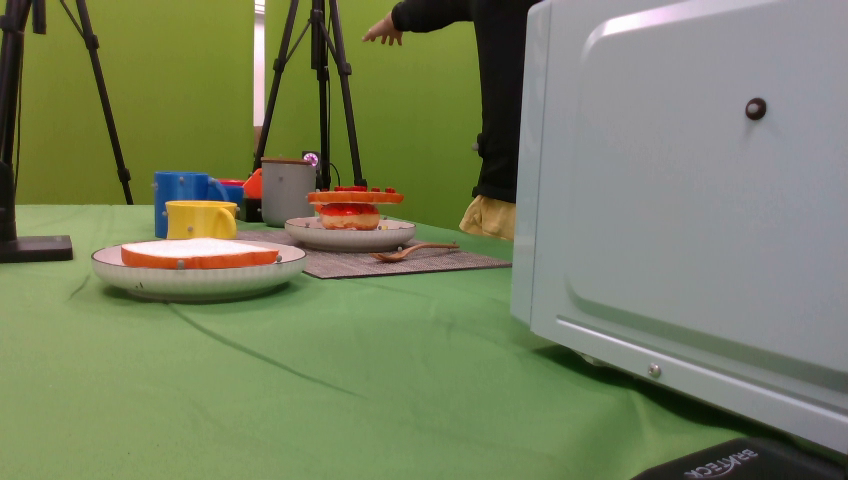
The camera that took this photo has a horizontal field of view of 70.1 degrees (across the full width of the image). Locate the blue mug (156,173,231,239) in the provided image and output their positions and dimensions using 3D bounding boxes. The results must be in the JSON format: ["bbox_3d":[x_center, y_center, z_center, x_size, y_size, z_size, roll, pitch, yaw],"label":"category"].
[{"bbox_3d":[-0.381,-0.057,1.004,0.117,0.106,0.082,0,8,-12],"label":"blue mug"}]

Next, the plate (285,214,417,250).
[{"bbox_3d":[-0.116,-0.014,0.964,0.209,0.038,0.209,2,8,0],"label":"plate"}]

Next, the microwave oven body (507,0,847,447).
[{"bbox_3d":[0.331,-0.042,0.425,0.444,0.260,0.324,-2,8,-31],"label":"microwave oven body"}]

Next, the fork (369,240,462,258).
[{"bbox_3d":[-0.005,0.011,0.874,0.028,0.018,0.208,0,6,37],"label":"fork"}]

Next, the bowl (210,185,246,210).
[{"bbox_3d":[-0.422,-0.067,1.166,0.151,0.077,0.151,2,7,0],"label":"bowl"}]

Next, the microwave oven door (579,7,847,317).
[{"bbox_3d":[0.294,-0.067,0.570,0.358,0.243,0.039,-3,9,-31],"label":"microwave oven door"}]

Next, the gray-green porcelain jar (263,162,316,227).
[{"bbox_3d":[-0.271,-0.092,1.217,0.106,0.126,0.106,2,7,0],"label":"gray-green porcelain jar"}]

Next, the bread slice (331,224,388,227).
[{"bbox_3d":[-0.103,-0.010,0.961,0.131,0.019,0.105,4,9,24],"label":"bread slice"}]

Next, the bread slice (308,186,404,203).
[{"bbox_3d":[-0.114,-0.071,0.952,0.134,0.018,0.107,-2,0,21],"label":"bread slice"}]

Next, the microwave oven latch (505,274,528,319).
[{"bbox_3d":[0.100,0.041,0.471,0.079,0.029,0.030,-1,7,-28],"label":"microwave oven latch"}]

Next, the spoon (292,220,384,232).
[{"bbox_3d":[-0.154,-0.028,1.123,0.195,0.021,0.041,-5,-11,-39],"label":"spoon"}]

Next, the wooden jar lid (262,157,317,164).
[{"bbox_3d":[-0.269,-0.154,1.208,0.108,0.020,0.108,3,4,0],"label":"wooden jar lid"}]

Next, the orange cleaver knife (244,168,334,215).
[{"bbox_3d":[-0.300,-0.089,1.352,0.212,0.077,0.012,28,-6,-34],"label":"orange cleaver knife"}]

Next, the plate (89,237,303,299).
[{"bbox_3d":[-0.233,0.029,0.636,0.208,0.039,0.207,2,7,0],"label":"plate"}]

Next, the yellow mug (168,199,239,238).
[{"bbox_3d":[-0.319,-0.023,0.904,0.130,0.064,0.100,9,11,36],"label":"yellow mug"}]
